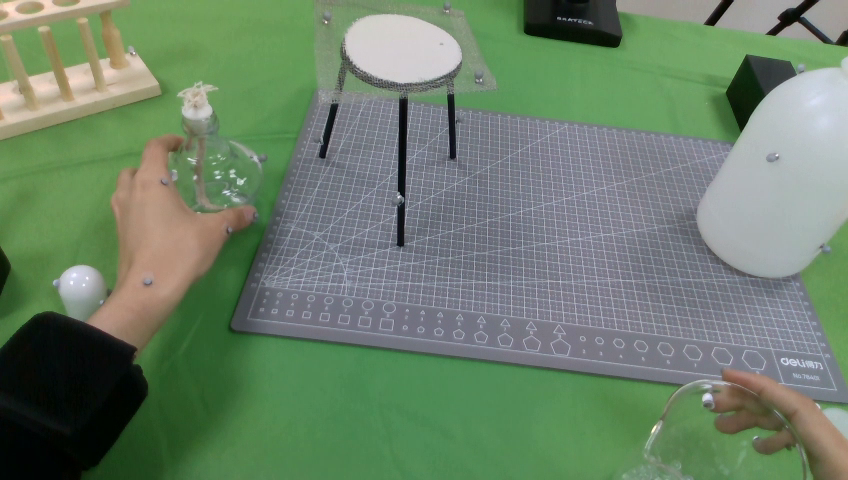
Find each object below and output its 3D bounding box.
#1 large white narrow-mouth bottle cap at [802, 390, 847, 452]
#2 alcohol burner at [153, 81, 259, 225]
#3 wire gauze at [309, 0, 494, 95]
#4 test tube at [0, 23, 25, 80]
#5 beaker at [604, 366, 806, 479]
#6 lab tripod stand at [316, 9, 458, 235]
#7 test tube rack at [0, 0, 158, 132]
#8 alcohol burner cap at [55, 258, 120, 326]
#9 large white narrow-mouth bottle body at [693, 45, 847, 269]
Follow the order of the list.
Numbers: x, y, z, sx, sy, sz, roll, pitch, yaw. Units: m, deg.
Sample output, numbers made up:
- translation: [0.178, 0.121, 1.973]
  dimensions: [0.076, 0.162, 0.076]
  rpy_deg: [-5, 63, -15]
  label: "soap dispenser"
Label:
- translation: [0.282, 0.124, 0.414]
  dimensions: [0.038, 0.024, 0.037]
  rpy_deg: [4, 49, -4]
  label: "large white narrow-mouth bottle cap"
- translation: [-0.166, -0.069, 0.458]
  dimensions: [0.078, 0.120, 0.077]
  rpy_deg: [5, 47, -5]
  label: "alcohol burner"
- translation: [-0.020, -0.146, 0.437]
  dimensions: [0.122, 0.011, 0.123]
  rpy_deg: [-3, 51, -11]
  label: "wire gauze"
- translation: [-0.361, -0.201, 0.498]
  dimensions: [0.017, 0.151, 0.017]
  rpy_deg: [5, 44, -4]
  label: "test tube"
- translation: [0.146, 0.129, 0.339]
  dimensions: [0.084, 0.101, 0.073]
  rpy_deg: [-3, 49, -8]
  label: "beaker"
- translation: [-0.023, -0.100, 0.487]
  dimensions: [0.148, 0.132, 0.147]
  rpy_deg: [5, 50, -6]
  label: "lab tripod stand"
- translation: [-0.370, -0.149, 0.517]
  dimensions: [0.242, 0.086, 0.066]
  rpy_deg: [-26, 57, -27]
  label: "test tube rack"
- translation: [-0.228, 0.033, 0.408]
  dimensions: [0.034, 0.048, 0.033]
  rpy_deg: [5, 49, -6]
  label: "alcohol burner cap"
- translation: [0.292, -0.072, 0.466]
  dimensions: [0.102, 0.196, 0.101]
  rpy_deg: [3, 48, -4]
  label: "large white narrow-mouth bottle body"
